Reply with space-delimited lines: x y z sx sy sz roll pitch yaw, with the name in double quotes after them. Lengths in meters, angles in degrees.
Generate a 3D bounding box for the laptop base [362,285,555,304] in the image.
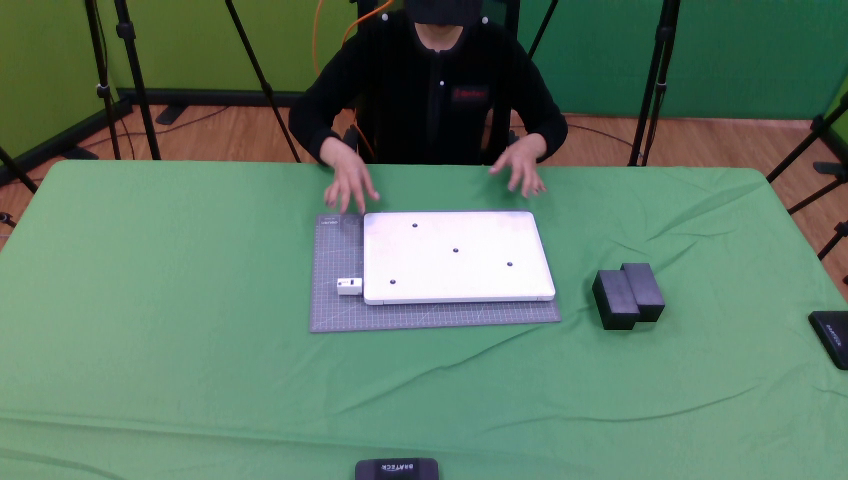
0.059 0.032 1.174 0.355 0.023 0.234 -1 43 -5 "laptop base"

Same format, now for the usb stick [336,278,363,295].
-0.128 0.083 1.094 0.059 0.027 0.021 2 44 -5 "usb stick"

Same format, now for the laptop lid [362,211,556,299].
0.059 0.022 1.167 0.357 0.013 0.240 0 44 -4 "laptop lid"
